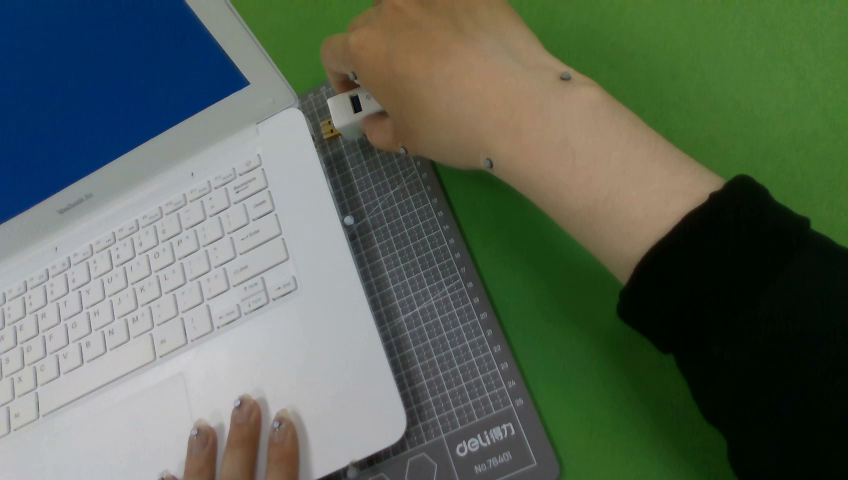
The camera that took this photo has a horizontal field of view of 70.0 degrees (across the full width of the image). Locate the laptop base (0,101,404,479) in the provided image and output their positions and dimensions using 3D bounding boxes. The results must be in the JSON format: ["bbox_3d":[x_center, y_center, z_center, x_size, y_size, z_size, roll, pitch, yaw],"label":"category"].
[{"bbox_3d":[-0.201,0.077,0.393,0.354,0.023,0.233,-26,67,8],"label":"laptop base"}]

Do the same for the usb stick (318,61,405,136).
[{"bbox_3d":[-0.044,-0.084,0.375,0.059,0.027,0.021,-26,75,20],"label":"usb stick"}]

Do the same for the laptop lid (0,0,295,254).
[{"bbox_3d":[-0.287,-0.090,0.359,0.356,0.244,0.013,-27,46,9],"label":"laptop lid"}]
